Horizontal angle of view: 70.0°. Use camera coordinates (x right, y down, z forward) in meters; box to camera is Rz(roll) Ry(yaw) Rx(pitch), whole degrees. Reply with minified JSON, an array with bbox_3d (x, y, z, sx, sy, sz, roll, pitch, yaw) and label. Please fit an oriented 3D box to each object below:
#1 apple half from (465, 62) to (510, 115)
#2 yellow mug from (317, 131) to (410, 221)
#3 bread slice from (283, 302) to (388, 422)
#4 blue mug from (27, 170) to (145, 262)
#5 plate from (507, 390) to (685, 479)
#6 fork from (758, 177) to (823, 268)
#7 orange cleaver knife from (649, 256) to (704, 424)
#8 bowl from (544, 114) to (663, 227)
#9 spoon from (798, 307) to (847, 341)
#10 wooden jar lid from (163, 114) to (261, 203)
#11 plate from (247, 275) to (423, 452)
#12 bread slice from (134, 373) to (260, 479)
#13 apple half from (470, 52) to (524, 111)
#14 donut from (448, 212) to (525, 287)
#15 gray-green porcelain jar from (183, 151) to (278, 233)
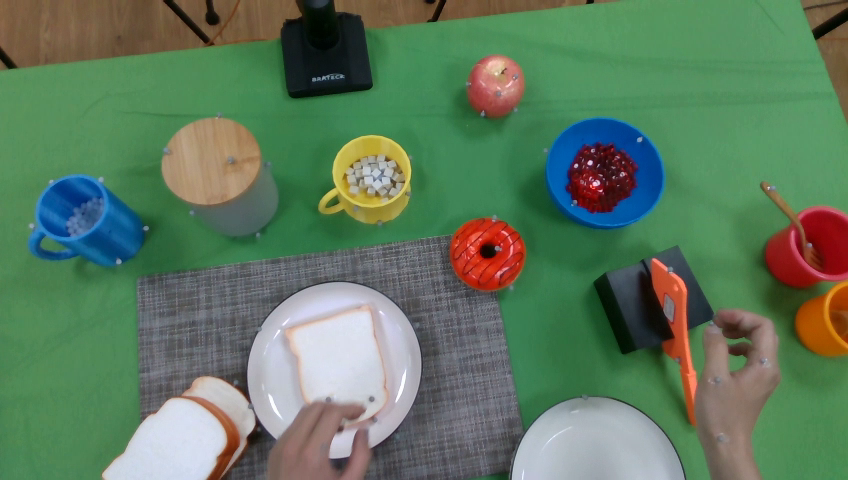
[{"bbox_3d":[0.078,-0.197,0.826,0.033,0.081,0.081,-40,78,-18],"label":"apple half"},{"bbox_3d":[-0.082,-0.075,0.788,0.131,0.064,0.099,-31,77,-10],"label":"yellow mug"},{"bbox_3d":[-0.099,0.150,0.732,0.107,0.018,0.133,-18,75,-8],"label":"bread slice"},{"bbox_3d":[-0.415,-0.018,0.734,0.116,0.106,0.082,-33,77,-11],"label":"blue mug"},{"bbox_3d":[0.198,0.283,0.709,0.209,0.038,0.208,1,73,-2],"label":"plate"},{"bbox_3d":[0.460,-0.020,0.755,0.209,0.018,0.028,36,69,-36],"label":"fork"},{"bbox_3d":[0.306,0.122,0.739,0.012,0.076,0.212,-17,104,-7],"label":"orange cleaver knife"},{"bbox_3d":[0.225,-0.080,0.798,0.151,0.077,0.150,1,74,-2],"label":"bowl"},{"bbox_3d":[0.558,0.079,0.729,0.022,0.193,0.041,4,64,-49],"label":"spoon"},{"bbox_3d":[-0.239,-0.090,0.688,0.108,0.021,0.107,1,71,-2],"label":"wooden jar lid"},{"bbox_3d":[-0.106,0.146,0.732,0.208,0.039,0.206,1,74,-2],"label":"plate"},{"bbox_3d":[-0.252,0.225,0.703,0.104,0.019,0.131,31,76,6],"label":"bread slice"},{"bbox_3d":[0.106,-0.222,0.836,0.053,0.075,0.080,-39,75,-18],"label":"apple half"},{"bbox_3d":[0.079,0.012,0.777,0.099,0.048,0.098,1,74,-3],"label":"donut"},{"bbox_3d":[-0.241,-0.072,0.748,0.106,0.127,0.105,1,73,-2],"label":"gray-green porcelain jar"}]
